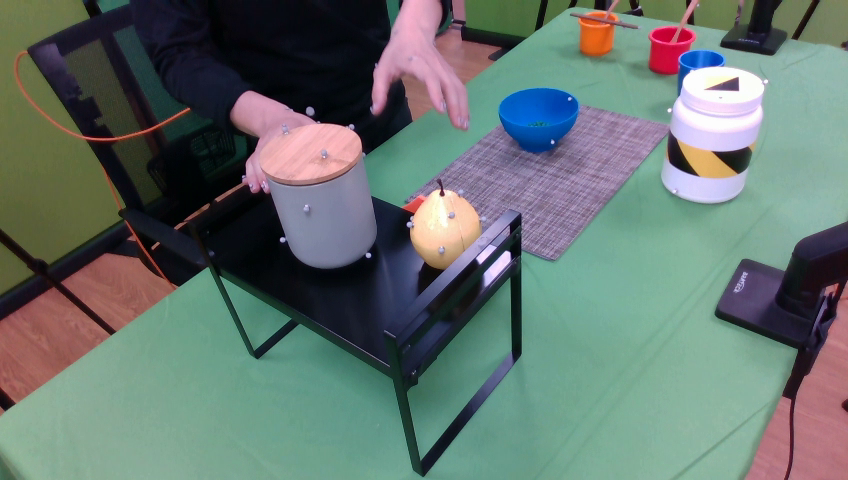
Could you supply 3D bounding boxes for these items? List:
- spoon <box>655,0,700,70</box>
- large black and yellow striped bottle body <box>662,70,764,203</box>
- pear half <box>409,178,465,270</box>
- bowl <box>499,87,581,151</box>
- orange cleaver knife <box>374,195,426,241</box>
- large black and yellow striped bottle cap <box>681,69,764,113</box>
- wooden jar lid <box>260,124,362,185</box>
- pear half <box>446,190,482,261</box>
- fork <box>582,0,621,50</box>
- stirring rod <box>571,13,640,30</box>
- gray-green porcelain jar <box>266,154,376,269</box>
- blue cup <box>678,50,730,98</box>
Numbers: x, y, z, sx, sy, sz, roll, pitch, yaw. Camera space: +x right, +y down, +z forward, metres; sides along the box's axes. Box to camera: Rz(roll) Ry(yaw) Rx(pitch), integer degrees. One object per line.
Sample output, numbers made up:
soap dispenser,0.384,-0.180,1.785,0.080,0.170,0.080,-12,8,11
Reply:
spoon,0.568,-0.463,1.337,0.041,0.022,0.193,30,97,37
large black and yellow striped bottle body,0.464,-0.166,0.976,0.131,0.185,0.130,-5,41,5
pear half,0.011,-0.019,0.655,0.056,0.110,0.076,-17,37,-9
bowl,0.221,-0.223,1.156,0.151,0.077,0.150,-4,40,4
orange cleaver knife,-0.037,-0.029,0.973,0.210,0.077,0.012,-8,33,50
large black and yellow striped bottle cap,0.453,-0.229,0.921,0.115,0.019,0.114,-4,39,4
wooden jar lid,-0.119,-0.088,0.644,0.108,0.021,0.108,-4,40,3
pear half,0.046,-0.020,0.665,0.031,0.088,0.070,-17,37,-9
fork,0.446,-0.539,1.438,0.207,0.019,0.028,-57,35,12
stirring rod,0.419,-0.508,1.404,0.174,0.006,0.014,28,55,35
gray-green porcelain jar,-0.112,-0.039,0.686,0.106,0.127,0.105,-4,40,4
blue cup,0.543,-0.310,1.194,0.092,0.101,0.092,-6,41,6
